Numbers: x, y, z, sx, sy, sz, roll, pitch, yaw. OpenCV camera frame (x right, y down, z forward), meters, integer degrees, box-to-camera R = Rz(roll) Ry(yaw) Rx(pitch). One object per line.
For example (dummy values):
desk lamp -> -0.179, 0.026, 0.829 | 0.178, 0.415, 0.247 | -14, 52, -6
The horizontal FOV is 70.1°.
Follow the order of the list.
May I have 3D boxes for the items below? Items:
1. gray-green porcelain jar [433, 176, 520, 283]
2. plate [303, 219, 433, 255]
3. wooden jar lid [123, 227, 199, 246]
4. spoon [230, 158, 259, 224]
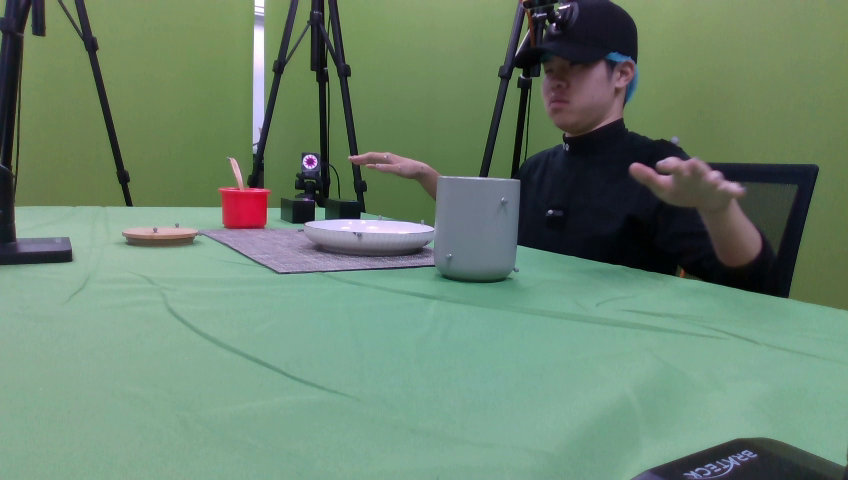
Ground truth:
gray-green porcelain jar -> 0.064, -0.015, 0.759 | 0.106, 0.126, 0.106 | 2, 7, 0
plate -> -0.084, -0.005, 0.952 | 0.208, 0.039, 0.207 | 3, 7, 0
wooden jar lid -> -0.408, -0.006, 0.942 | 0.108, 0.020, 0.108 | 3, 6, 0
spoon -> -0.366, -0.101, 1.215 | 0.042, 0.021, 0.193 | -1, 52, -30
